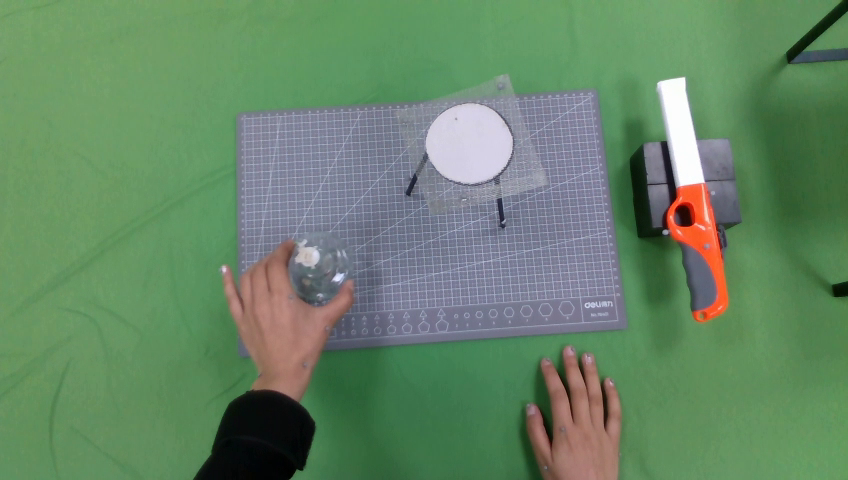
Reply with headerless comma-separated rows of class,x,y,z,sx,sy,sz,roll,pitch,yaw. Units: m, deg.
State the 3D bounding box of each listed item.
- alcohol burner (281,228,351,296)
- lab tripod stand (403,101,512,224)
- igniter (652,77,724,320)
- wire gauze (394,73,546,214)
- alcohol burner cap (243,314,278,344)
alcohol burner,-0.120,0.021,0.659,0.078,0.119,0.077,0,81,-1
lab tripod stand,0.045,-0.090,0.672,0.148,0.132,0.147,0,77,2
igniter,0.292,-0.050,0.674,0.057,0.025,0.275,-7,78,10
wire gauze,0.044,-0.097,0.605,0.125,0.011,0.121,-17,79,-3
alcohol burner cap,-0.186,0.098,0.681,0.034,0.048,0.033,0,76,2
